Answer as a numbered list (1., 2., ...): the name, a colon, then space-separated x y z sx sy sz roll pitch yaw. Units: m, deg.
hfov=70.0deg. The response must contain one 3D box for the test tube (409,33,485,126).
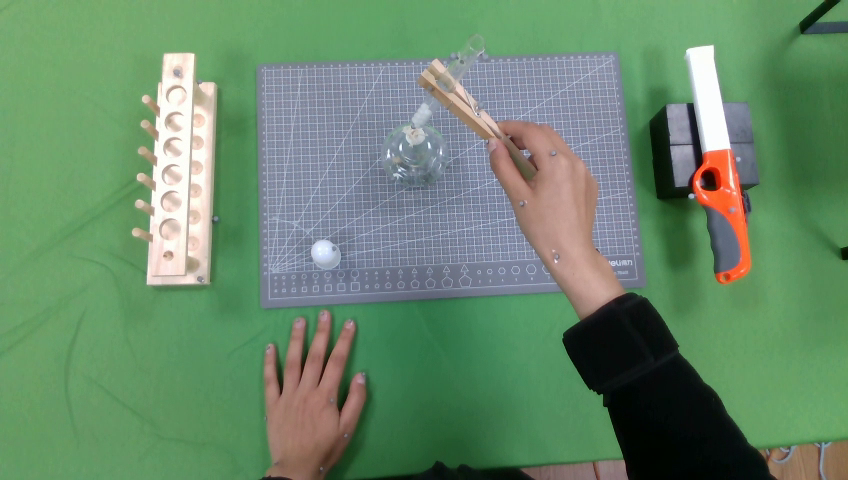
1. test tube: 0.015 -0.135 0.531 0.017 0.150 0.017 5 75 -19

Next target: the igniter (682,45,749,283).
1. igniter: 0.329 -0.089 0.687 0.057 0.025 0.275 -5 80 8

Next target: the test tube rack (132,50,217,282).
1. test tube rack: -0.280 -0.078 0.672 0.067 0.085 0.241 -1 80 -3

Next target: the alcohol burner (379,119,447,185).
1. alcohol burner: -0.012 -0.103 0.673 0.078 0.119 0.077 0 81 -2

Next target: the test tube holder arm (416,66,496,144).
1. test tube holder arm: 0.029 -0.117 0.530 0.088 0.015 0.010 40 66 -9

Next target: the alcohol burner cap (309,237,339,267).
1. alcohol burner cap: -0.115 0.012 0.684 0.034 0.048 0.033 1 80 -4

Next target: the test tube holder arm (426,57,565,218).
1. test tube holder arm: 0.065 -0.089 0.537 0.179 0.015 0.013 47 65 -6
